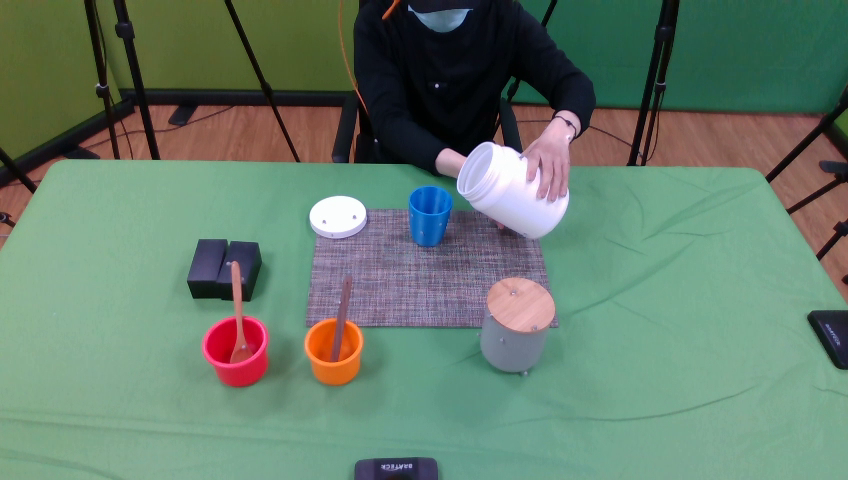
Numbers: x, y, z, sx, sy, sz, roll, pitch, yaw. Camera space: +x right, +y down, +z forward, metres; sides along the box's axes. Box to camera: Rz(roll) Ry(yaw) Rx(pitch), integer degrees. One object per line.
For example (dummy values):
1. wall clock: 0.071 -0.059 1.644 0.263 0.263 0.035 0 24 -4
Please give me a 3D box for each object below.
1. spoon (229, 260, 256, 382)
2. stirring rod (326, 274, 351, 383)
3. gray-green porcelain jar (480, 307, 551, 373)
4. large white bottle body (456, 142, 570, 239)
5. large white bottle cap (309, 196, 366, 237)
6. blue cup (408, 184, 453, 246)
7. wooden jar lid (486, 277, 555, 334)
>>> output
1. spoon: -0.294 0.129 0.966 0.042 0.021 0.193 -4 91 -8
2. stirring rod: -0.137 0.142 0.971 0.014 0.006 0.176 9 88 1
3. gray-green porcelain jar: 0.148 0.148 0.992 0.106 0.127 0.105 2 46 -2
4. large white bottle body: 0.165 -0.095 1.138 0.185 0.131 0.130 26 40 -24
5. large white bottle cap: -0.176 -0.048 1.229 0.115 0.018 0.114 0 43 0
6. blue cup: 0.008 -0.043 1.177 0.093 0.101 0.092 3 47 -3
7. wooden jar lid: 0.150 0.105 0.948 0.108 0.021 0.107 3 47 -3
